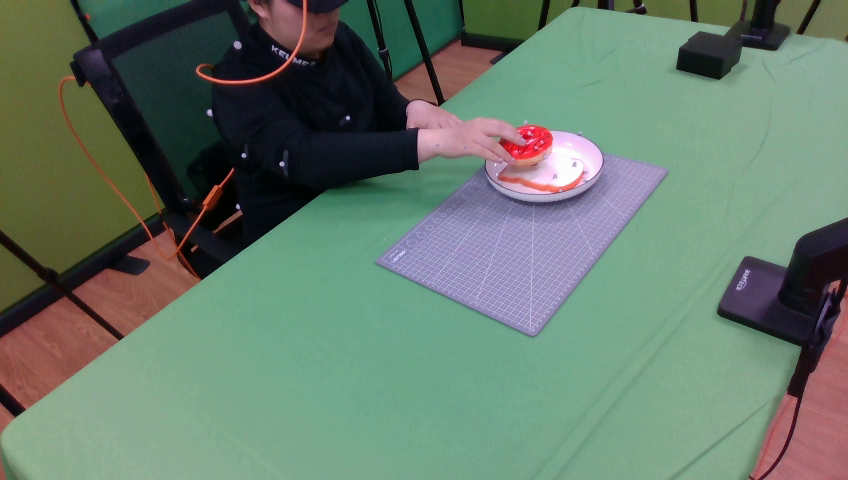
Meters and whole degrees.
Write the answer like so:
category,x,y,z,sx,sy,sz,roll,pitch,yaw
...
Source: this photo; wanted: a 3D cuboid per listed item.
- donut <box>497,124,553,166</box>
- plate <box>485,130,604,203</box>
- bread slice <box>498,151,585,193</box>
category,x,y,z,sx,sy,sz,roll,pitch,yaw
donut,0.177,-0.166,1.056,0.099,0.048,0.098,-11,38,9
plate,0.213,-0.129,1.079,0.209,0.038,0.208,-5,40,5
bread slice,0.216,-0.125,1.076,0.133,0.018,0.107,17,48,28
